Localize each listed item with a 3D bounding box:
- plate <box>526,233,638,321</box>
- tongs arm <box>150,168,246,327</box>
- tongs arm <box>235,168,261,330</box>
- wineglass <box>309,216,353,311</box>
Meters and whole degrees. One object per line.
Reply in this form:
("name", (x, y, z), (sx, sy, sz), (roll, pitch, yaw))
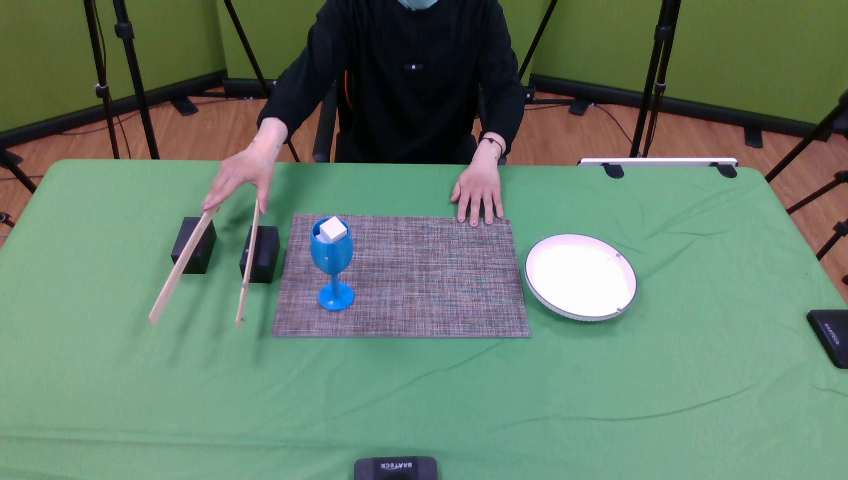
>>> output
("plate", (0.292, 0.071, 1.135), (0.209, 0.038, 0.208), (2, 46, -2))
("tongs arm", (-0.404, -0.003, 1.101), (0.028, 0.028, 0.385), (4, 45, 8))
("tongs arm", (-0.330, 0.000, 1.103), (0.051, 0.026, 0.382), (-1, 46, -2))
("wineglass", (-0.155, 0.043, 1.032), (0.074, 0.173, 0.073), (2, 46, -2))
